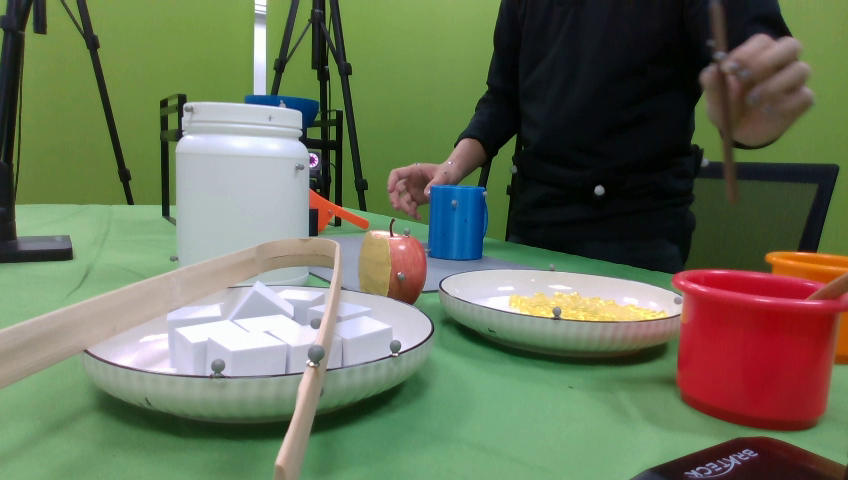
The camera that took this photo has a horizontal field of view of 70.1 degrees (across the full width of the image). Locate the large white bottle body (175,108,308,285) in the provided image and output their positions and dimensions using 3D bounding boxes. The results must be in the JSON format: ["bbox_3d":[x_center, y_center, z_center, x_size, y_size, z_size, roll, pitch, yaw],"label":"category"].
[{"bbox_3d":[-0.188,-0.042,0.630,0.131,0.184,0.130,2,8,0],"label":"large white bottle body"}]

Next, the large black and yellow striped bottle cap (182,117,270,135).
[{"bbox_3d":[-0.272,-0.156,0.833,0.115,0.019,0.115,1,7,0],"label":"large black and yellow striped bottle cap"}]

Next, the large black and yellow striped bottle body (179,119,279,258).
[{"bbox_3d":[-0.271,-0.074,0.846,0.131,0.184,0.130,0,9,0],"label":"large black and yellow striped bottle body"}]

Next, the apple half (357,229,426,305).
[{"bbox_3d":[-0.026,0.028,0.570,0.053,0.074,0.080,3,2,-28],"label":"apple half"}]

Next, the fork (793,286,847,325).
[{"bbox_3d":[0.331,0.018,0.442,0.028,0.018,0.207,-1,-36,-15],"label":"fork"}]

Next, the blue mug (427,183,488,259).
[{"bbox_3d":[0.059,-0.031,0.907,0.082,0.106,0.117,9,10,42],"label":"blue mug"}]

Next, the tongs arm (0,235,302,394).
[{"bbox_3d":[-0.157,0.038,0.351,0.028,0.028,0.388,-3,8,12],"label":"tongs arm"}]

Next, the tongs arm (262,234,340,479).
[{"bbox_3d":[-0.074,0.039,0.349,0.051,0.026,0.384,-2,10,-3],"label":"tongs arm"}]

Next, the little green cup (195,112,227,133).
[{"bbox_3d":[-0.412,-0.227,1.171,0.061,0.038,0.061,3,8,0],"label":"little green cup"}]

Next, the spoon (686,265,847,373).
[{"bbox_3d":[0.214,0.032,0.328,0.042,0.021,0.193,-2,-35,-25],"label":"spoon"}]

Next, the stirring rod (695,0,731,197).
[{"bbox_3d":[0.257,-0.126,0.539,0.014,0.176,0.006,-12,4,-39],"label":"stirring rod"}]

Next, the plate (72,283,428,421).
[{"bbox_3d":[-0.102,0.066,0.381,0.208,0.039,0.207,2,7,0],"label":"plate"}]

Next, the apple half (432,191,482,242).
[{"bbox_3d":[0.048,-0.037,0.906,0.081,0.081,0.033,2,15,-2],"label":"apple half"}]

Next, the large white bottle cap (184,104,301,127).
[{"bbox_3d":[-0.184,-0.126,0.618,0.115,0.018,0.115,2,8,0],"label":"large white bottle cap"}]

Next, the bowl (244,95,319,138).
[{"bbox_3d":[-0.293,-0.251,1.249,0.151,0.077,0.151,2,7,0],"label":"bowl"}]

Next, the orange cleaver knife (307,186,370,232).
[{"bbox_3d":[-0.197,-0.056,1.141,0.212,0.077,0.012,29,0,-34],"label":"orange cleaver knife"}]

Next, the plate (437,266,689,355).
[{"bbox_3d":[0.113,0.057,0.518,0.209,0.038,0.209,3,7,0],"label":"plate"}]
